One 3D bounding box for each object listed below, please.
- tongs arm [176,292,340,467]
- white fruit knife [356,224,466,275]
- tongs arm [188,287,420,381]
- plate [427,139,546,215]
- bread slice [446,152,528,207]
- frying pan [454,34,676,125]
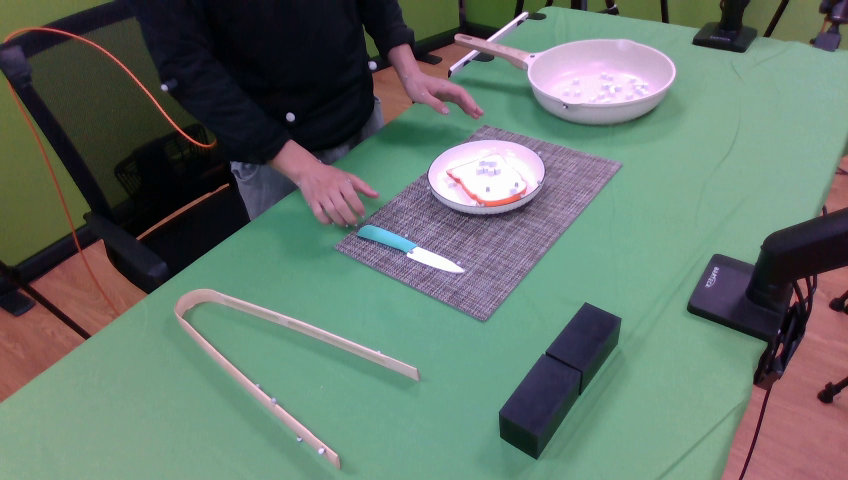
[{"bbox_3d":[-0.225,0.168,0.793,0.381,0.026,0.051,25,49,33],"label":"tongs arm"},{"bbox_3d":[-0.021,0.014,0.955,0.206,0.016,0.027,22,77,28],"label":"white fruit knife"},{"bbox_3d":[-0.177,0.126,0.842,0.385,0.028,0.028,15,48,24],"label":"tongs arm"},{"bbox_3d":[0.109,-0.106,1.059,0.207,0.039,0.206,-4,40,4],"label":"plate"},{"bbox_3d":[0.117,-0.104,1.057,0.107,0.018,0.133,-24,42,-18],"label":"bread slice"},{"bbox_3d":[0.277,-0.370,1.295,0.485,0.103,0.307,26,49,22],"label":"frying pan"}]
